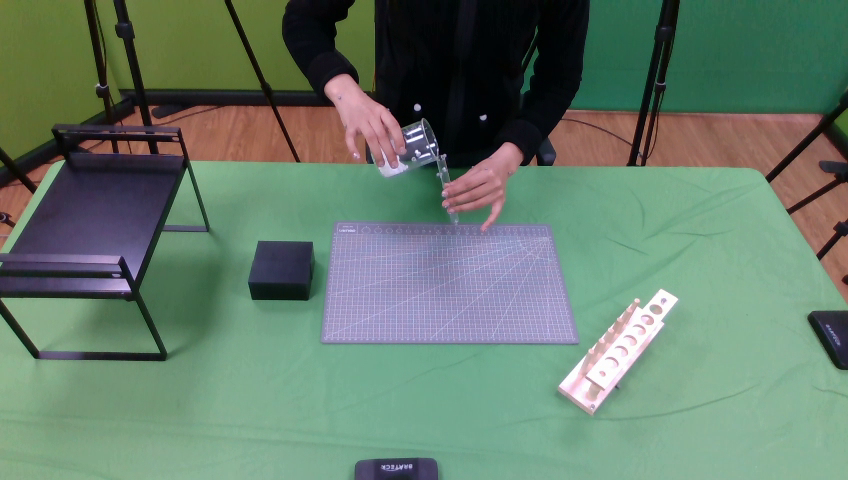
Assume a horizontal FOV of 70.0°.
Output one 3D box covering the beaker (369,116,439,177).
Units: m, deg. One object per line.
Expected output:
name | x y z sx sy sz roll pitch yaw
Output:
beaker | -0.032 -0.150 1.000 0.100 0.084 0.073 -18 50 15

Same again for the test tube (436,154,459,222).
test tube | 0.042 -0.088 1.068 0.017 0.151 0.017 -9 43 8

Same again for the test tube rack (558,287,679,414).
test tube rack | 0.326 0.170 1.009 0.066 0.085 0.242 35 54 26
